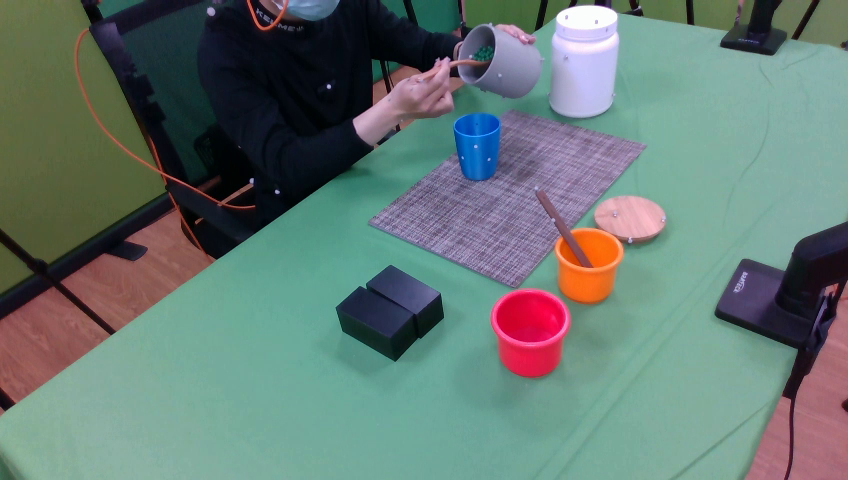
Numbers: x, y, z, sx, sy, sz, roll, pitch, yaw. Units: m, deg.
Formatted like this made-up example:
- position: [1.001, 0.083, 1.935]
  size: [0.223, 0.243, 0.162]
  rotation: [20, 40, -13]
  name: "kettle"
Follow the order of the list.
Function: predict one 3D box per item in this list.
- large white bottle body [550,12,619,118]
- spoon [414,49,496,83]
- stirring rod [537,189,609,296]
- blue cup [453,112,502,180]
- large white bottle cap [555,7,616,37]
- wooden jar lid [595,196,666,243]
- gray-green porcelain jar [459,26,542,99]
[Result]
- position: [0.320, -0.356, 1.218]
  size: [0.130, 0.185, 0.130]
  rotation: [-4, 41, 4]
  name: "large white bottle body"
- position: [0.053, -0.301, 1.041]
  size: [0.195, 0.022, 0.041]
  rotation: [-26, 46, -36]
  name: "spoon"
- position: [0.210, 0.003, 0.855]
  size: [0.014, 0.006, 0.176]
  rotation: [-32, 89, -30]
  name: "stirring rod"
- position: [0.097, -0.165, 1.088]
  size: [0.092, 0.100, 0.092]
  rotation: [-3, 40, 3]
  name: "blue cup"
- position: [0.311, -0.420, 1.163]
  size: [0.115, 0.018, 0.114]
  rotation: [-4, 40, 4]
  name: "large white bottle cap"
- position: [0.329, -0.032, 0.967]
  size: [0.108, 0.021, 0.108]
  rotation: [-4, 41, 4]
  name: "wooden jar lid"
- position: [0.144, -0.321, 1.107]
  size: [0.127, 0.106, 0.105]
  rotation: [8, 28, -37]
  name: "gray-green porcelain jar"
